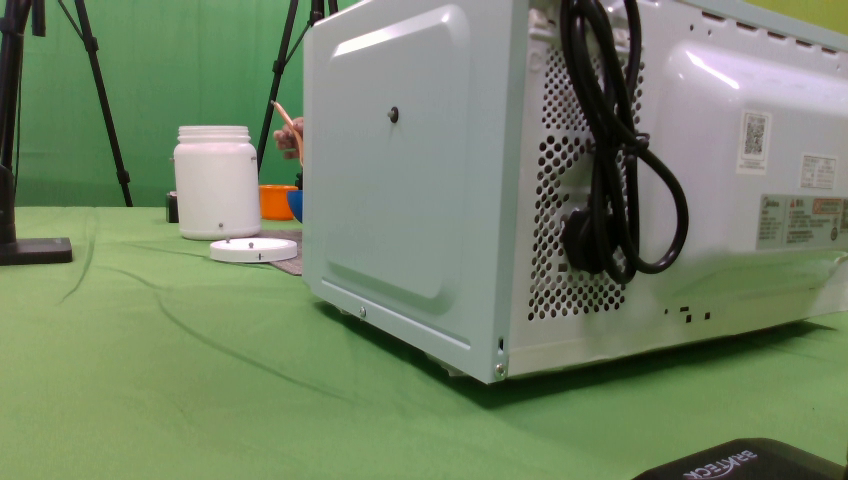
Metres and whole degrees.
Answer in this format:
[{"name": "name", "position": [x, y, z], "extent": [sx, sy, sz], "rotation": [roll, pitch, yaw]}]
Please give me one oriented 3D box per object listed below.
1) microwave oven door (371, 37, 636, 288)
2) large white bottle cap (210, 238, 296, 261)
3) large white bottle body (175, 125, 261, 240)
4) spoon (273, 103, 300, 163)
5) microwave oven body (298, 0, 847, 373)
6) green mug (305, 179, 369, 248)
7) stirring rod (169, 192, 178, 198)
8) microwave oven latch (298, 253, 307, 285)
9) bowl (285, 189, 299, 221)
[{"name": "microwave oven door", "position": [0.109, -0.080, 0.686], "extent": [0.358, 0.243, 0.039], "rotation": [-2, 9, -33]}, {"name": "large white bottle cap", "position": [-0.236, 0.012, 0.839], "extent": [0.115, 0.018, 0.115], "rotation": [1, 7, 0]}, {"name": "large white bottle body", "position": [-0.349, -0.100, 1.025], "extent": [0.131, 0.184, 0.130], "rotation": [-1, 9, 0]}, {"name": "spoon", "position": [-0.231, -0.184, 1.095], "extent": [0.042, 0.193, 0.021], "rotation": [2, -38, -49]}, {"name": "microwave oven body", "position": [0.151, -0.055, 0.542], "extent": [0.444, 0.260, 0.324], "rotation": [-2, 7, -33]}, {"name": "green mug", "position": [-0.133, -0.044, 0.977], "extent": [0.092, 0.105, 0.126], "rotation": [6, 8, 32]}, {"name": "stirring rod", "position": [-0.465, -0.098, 1.283], "extent": [0.014, 0.006, 0.177], "rotation": [42, 21, 17]}, {"name": "microwave oven latch", "position": [-0.081, 0.027, 0.582], "extent": [0.079, 0.029, 0.030], "rotation": [-1, 7, -33]}, {"name": "bowl", "position": [-0.180, -0.050, 1.113], "extent": [0.151, 0.077, 0.151], "rotation": [2, 8, 0]}]
